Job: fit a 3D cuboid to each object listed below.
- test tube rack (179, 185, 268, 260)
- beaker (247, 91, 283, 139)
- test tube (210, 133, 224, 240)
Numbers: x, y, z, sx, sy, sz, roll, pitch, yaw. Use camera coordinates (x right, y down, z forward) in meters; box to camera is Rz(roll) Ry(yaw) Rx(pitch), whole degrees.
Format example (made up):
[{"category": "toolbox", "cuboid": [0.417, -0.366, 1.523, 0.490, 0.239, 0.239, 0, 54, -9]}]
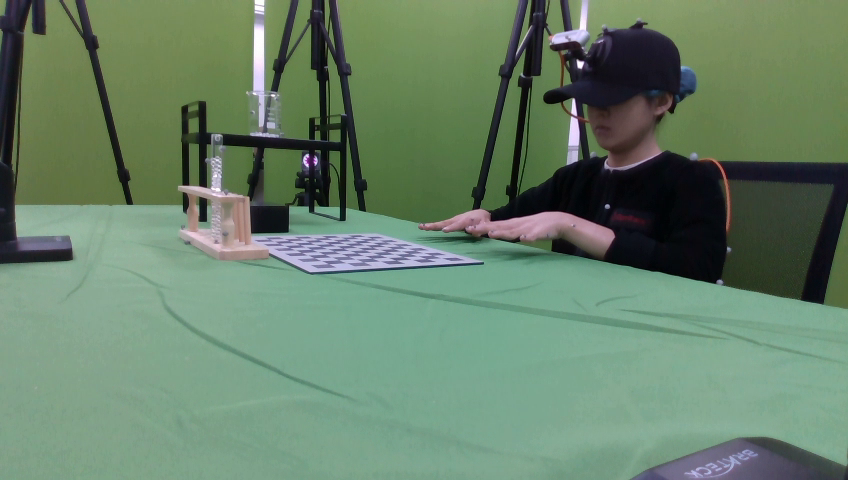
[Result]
[{"category": "test tube rack", "cuboid": [-0.303, -0.031, 0.898, 0.067, 0.085, 0.241, -2, 9, -33]}, {"category": "beaker", "cuboid": [-0.357, -0.278, 1.348, 0.073, 0.100, 0.084, 9, 10, 39]}, {"category": "test tube", "cuboid": [-0.292, -0.075, 0.852, 0.017, 0.150, 0.017, 2, 2, 0]}]
